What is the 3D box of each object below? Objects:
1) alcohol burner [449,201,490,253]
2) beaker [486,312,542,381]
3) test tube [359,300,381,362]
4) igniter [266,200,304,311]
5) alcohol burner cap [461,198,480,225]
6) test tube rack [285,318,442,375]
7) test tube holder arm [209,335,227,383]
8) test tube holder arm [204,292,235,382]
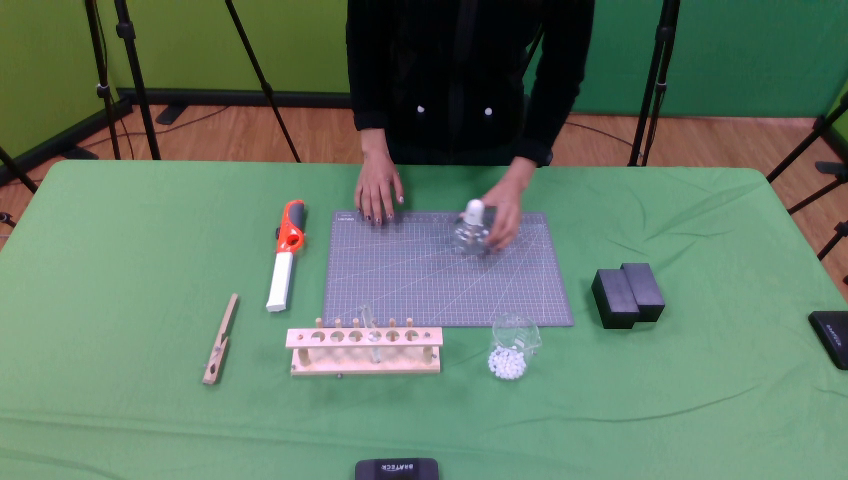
[{"bbox_3d":[0.087,-0.032,1.153,0.078,0.120,0.077,0,49,0],"label":"alcohol burner"},{"bbox_3d":[0.144,0.177,0.985,0.084,0.101,0.074,22,49,16],"label":"beaker"},{"bbox_3d":[-0.083,0.144,0.940,0.017,0.151,0.017,-3,46,3],"label":"test tube"},{"bbox_3d":[-0.263,0.020,1.156,0.057,0.025,0.274,-6,46,4],"label":"igniter"},{"bbox_3d":[0.088,-0.056,1.127,0.034,0.048,0.033,4,42,-3],"label":"alcohol burner cap"},{"bbox_3d":[-0.095,0.168,0.986,0.242,0.085,0.066,0,46,-4],"label":"test tube rack"},{"bbox_3d":[-0.338,0.193,0.991,0.010,0.015,0.087,28,39,-26],"label":"test tube holder arm"},{"bbox_3d":[-0.343,0.159,1.020,0.013,0.015,0.177,27,39,-27],"label":"test tube holder arm"}]
